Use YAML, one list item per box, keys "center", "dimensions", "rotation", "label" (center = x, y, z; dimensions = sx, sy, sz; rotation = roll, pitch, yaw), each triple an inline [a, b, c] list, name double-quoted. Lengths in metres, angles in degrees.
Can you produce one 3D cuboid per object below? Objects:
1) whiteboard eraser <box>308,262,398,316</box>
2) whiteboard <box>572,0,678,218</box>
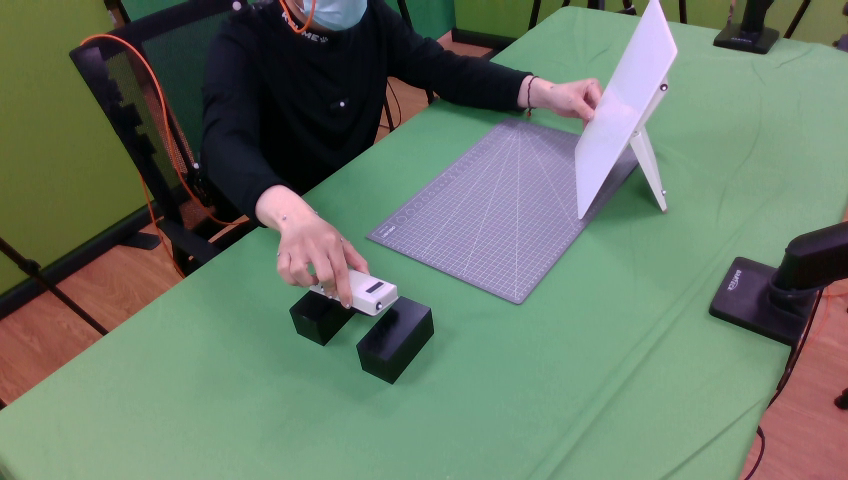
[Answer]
- center: [-0.095, 0.068, 0.806]
  dimensions: [0.112, 0.042, 0.056]
  rotation: [16, 27, 26]
  label: "whiteboard eraser"
- center: [0.367, -0.188, 0.965]
  dimensions: [0.144, 0.305, 0.216]
  rotation: [17, 42, -3]
  label: "whiteboard"
